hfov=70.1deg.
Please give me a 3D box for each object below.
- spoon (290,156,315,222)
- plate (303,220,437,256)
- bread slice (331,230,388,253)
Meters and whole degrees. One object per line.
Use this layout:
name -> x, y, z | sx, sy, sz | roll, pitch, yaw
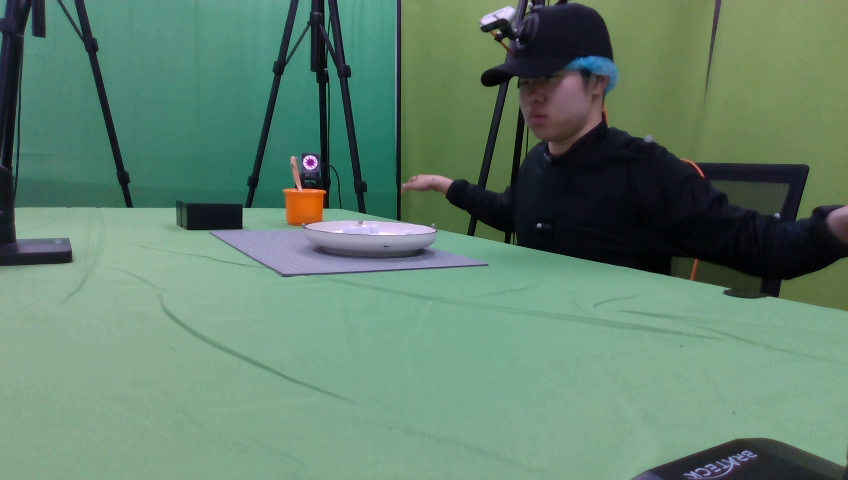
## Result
spoon -> -0.274, -0.116, 1.329 | 0.042, 0.021, 0.193 | -3, 49, -25
plate -> -0.084, -0.003, 0.951 | 0.209, 0.038, 0.209 | 3, 7, 0
bread slice -> -0.088, 0.000, 0.947 | 0.105, 0.019, 0.131 | -4, 10, -44
